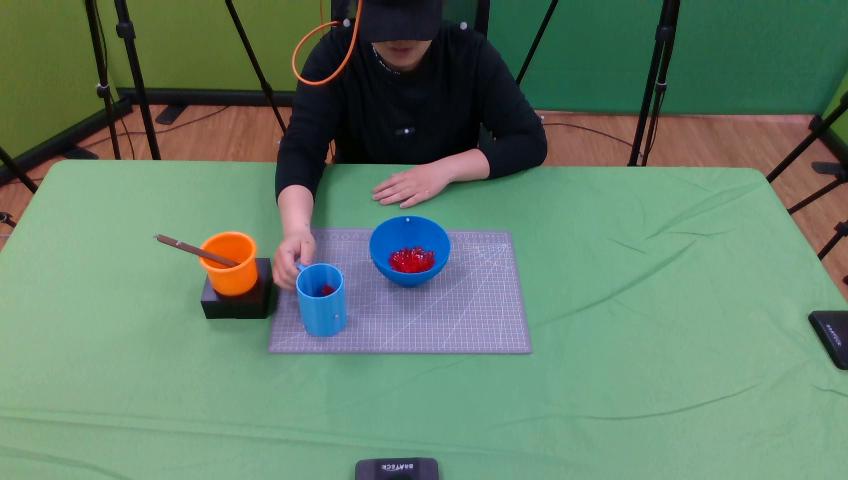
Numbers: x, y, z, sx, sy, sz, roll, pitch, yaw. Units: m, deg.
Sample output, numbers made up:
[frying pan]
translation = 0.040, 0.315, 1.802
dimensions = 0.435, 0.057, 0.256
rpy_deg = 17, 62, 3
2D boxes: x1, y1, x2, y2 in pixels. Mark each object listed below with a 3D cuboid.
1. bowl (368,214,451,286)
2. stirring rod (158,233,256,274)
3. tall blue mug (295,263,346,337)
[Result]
[bowl]
translation = -0.028, 0.031, 1.122
dimensions = 0.151, 0.077, 0.150
rpy_deg = 2, 46, -2
[stirring rod]
translation = -0.354, 0.024, 1.000
dimensions = 0.177, 0.006, 0.014
rpy_deg = 27, 31, -40
[tall blue mug]
translation = -0.187, 0.096, 1.027
dimensions = 0.107, 0.108, 0.077
rpy_deg = 21, 49, 16
